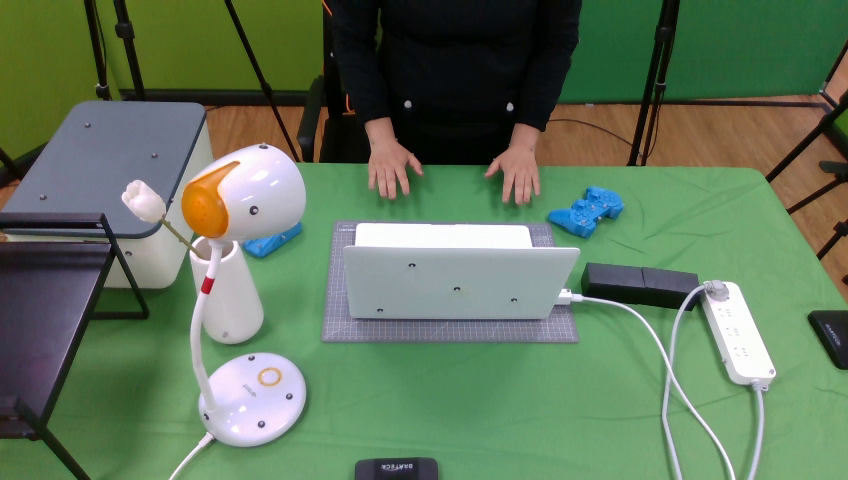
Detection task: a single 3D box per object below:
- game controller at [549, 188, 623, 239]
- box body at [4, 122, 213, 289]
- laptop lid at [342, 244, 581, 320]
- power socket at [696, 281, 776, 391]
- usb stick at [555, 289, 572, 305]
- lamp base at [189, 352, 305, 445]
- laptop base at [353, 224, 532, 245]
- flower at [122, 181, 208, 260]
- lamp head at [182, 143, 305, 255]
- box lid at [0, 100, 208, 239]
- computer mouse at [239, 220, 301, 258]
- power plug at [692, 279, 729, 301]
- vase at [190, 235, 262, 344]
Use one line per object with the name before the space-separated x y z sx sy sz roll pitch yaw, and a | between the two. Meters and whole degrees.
game controller | 0.345 -0.065 1.272 0.155 0.052 0.096 -31 58 -29
box body | -0.563 -0.088 1.139 0.254 0.161 0.361 2 46 -3
laptop lid | 0.051 0.074 0.969 0.357 0.243 0.013 1 56 -5
power socket | 0.550 0.160 1.078 0.072 0.033 0.225 2 46 -1
usb stick | 0.236 0.103 1.101 0.059 0.027 0.021 0 48 1
lamp base | -0.268 0.196 0.876 0.160 0.181 0.179 25 52 19
laptop base | 0.040 0.056 1.149 0.355 0.023 0.234 1 43 -4
flower | -0.329 0.029 0.905 0.038 0.364 0.044 -21 58 -1
lamp head | -0.216 -0.044 0.697 0.112 0.113 0.123 23 31 17
box lid | -0.559 -0.138 1.085 0.263 0.015 0.369 2 46 -2
computer mouse | -0.300 -0.016 1.177 0.062 0.041 0.117 35 58 23
power plug | 0.522 0.092 1.115 0.072 0.053 0.035 8 46 7
vase | -0.317 0.081 0.971 0.098 0.201 0.097 3 47 -3
